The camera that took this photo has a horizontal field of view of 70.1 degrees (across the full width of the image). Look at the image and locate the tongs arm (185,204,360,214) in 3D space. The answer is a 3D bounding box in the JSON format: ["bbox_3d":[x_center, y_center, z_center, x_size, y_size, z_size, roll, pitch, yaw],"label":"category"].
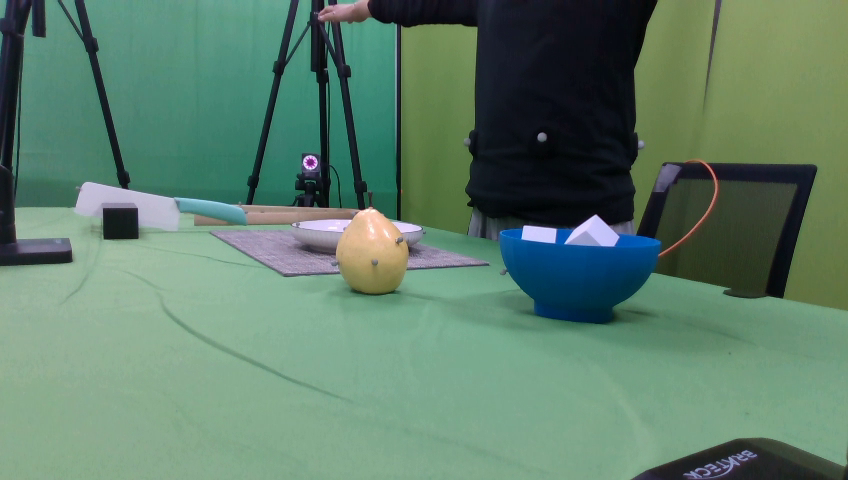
[{"bbox_3d":[-0.337,-0.065,1.376,0.387,0.026,0.050,0,9,-25],"label":"tongs arm"}]

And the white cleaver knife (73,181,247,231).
[{"bbox_3d":[-0.465,-0.052,1.090,0.288,0.066,0.021,9,7,-30],"label":"white cleaver knife"}]

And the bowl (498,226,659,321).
[{"bbox_3d":[0.145,0.032,0.585,0.151,0.077,0.151,2,7,0],"label":"bowl"}]

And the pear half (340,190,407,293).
[{"bbox_3d":[-0.047,0.002,0.641,0.055,0.110,0.076,6,19,32],"label":"pear half"}]

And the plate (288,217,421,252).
[{"bbox_3d":[-0.109,-0.008,0.956,0.208,0.039,0.207,2,7,0],"label":"plate"}]

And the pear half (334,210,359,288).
[{"bbox_3d":[-0.076,0.008,0.663,0.031,0.088,0.071,7,18,33],"label":"pear half"}]

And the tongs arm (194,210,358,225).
[{"bbox_3d":[-0.298,-0.050,1.307,0.390,0.028,0.028,-3,7,-37],"label":"tongs arm"}]
